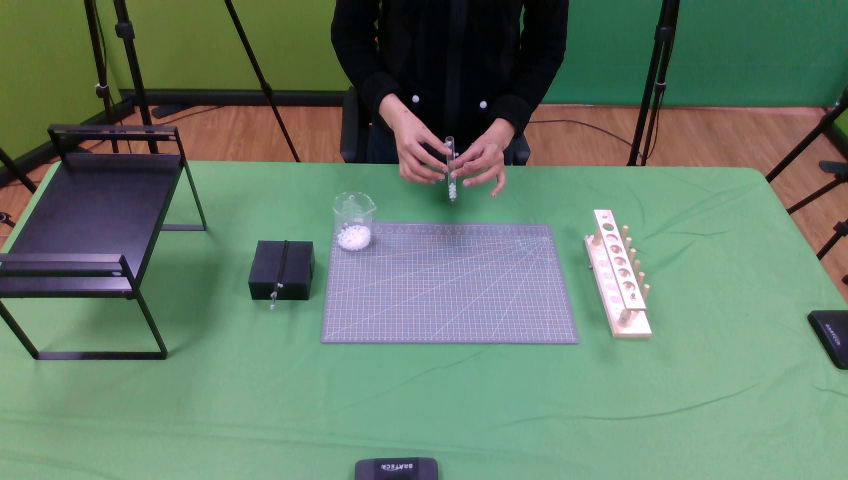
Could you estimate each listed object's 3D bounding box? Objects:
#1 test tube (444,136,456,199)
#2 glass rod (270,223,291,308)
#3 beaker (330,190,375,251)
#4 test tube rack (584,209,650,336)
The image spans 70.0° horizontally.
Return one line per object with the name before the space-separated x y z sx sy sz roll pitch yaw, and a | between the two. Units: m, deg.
test tube | 0.050 -0.133 1.140 0.017 0.151 0.017 -3 48 4
glass rod | -0.255 0.041 1.082 0.008 0.008 0.198 2 46 -2
beaker | -0.136 -0.034 1.163 0.084 0.101 0.073 3 46 -3
test tube rack | 0.365 0.056 1.129 0.067 0.085 0.240 1 46 -4
